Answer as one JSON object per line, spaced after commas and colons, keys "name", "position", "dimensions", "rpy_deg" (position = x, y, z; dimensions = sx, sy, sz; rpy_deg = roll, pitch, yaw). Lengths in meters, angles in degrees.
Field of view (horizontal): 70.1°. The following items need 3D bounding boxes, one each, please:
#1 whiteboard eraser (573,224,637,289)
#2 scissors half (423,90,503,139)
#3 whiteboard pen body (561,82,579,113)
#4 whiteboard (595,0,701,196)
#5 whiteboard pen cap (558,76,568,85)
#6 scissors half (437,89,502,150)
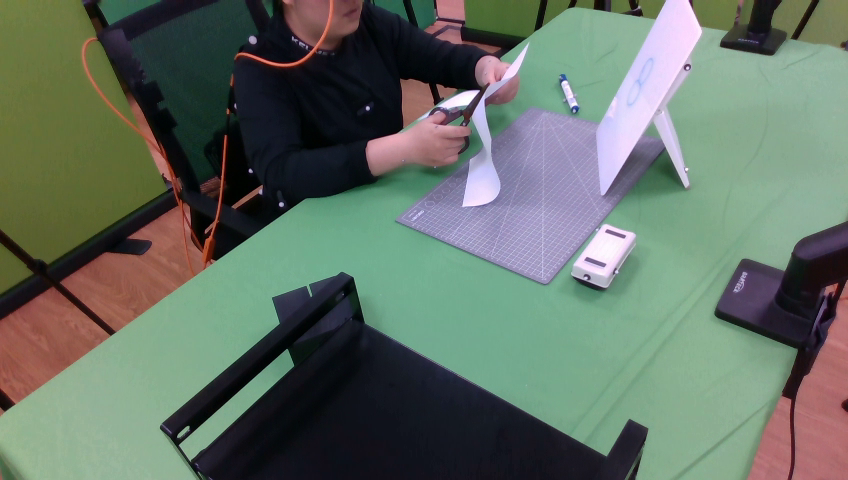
{"name": "whiteboard eraser", "position": [0.267, 0.025, 0.891], "dimensions": [0.055, 0.042, 0.113], "rpy_deg": [19, 47, 31]}
{"name": "scissors half", "position": [0.066, -0.222, 1.054], "dimensions": [0.174, 0.040, 0.013], "rpy_deg": [-21, 37, 35]}
{"name": "whiteboard pen body", "position": [0.310, -0.312, 1.297], "dimensions": [0.017, 0.017, 0.140], "rpy_deg": [-6, 42, 2]}
{"name": "whiteboard", "position": [0.421, -0.227, 1.010], "dimensions": [0.144, 0.305, 0.216], "rpy_deg": [18, 42, -2]}
{"name": "whiteboard pen cap", "position": [0.310, -0.350, 1.341], "dimensions": [0.018, 0.018, 0.033], "rpy_deg": [-6, 41, 2]}
{"name": "scissors half", "position": [0.081, -0.210, 1.062], "dimensions": [0.040, 0.174, 0.013], "rpy_deg": [28, 49, -20]}
